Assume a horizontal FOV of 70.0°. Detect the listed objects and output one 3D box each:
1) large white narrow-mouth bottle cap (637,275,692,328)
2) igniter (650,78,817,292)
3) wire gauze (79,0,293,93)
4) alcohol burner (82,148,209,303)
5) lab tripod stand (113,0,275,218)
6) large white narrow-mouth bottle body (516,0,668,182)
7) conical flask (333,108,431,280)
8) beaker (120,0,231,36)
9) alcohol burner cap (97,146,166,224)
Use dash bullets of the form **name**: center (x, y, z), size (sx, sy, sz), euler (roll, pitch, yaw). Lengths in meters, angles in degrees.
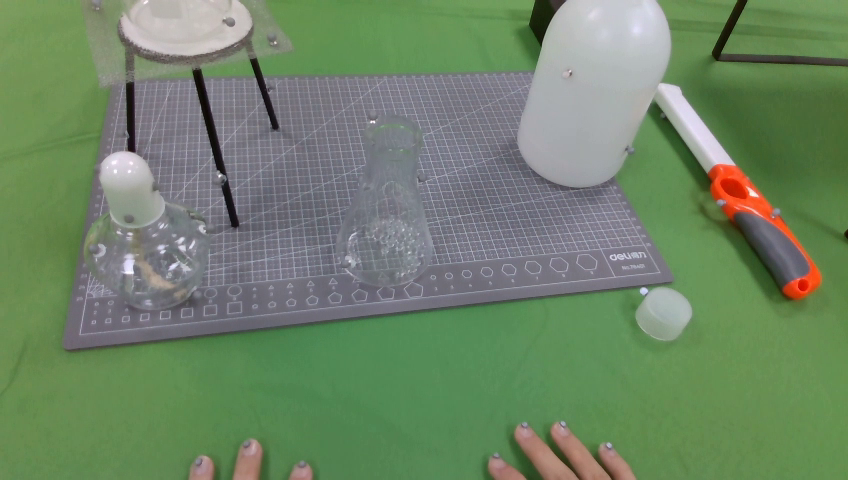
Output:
- **large white narrow-mouth bottle cap**: center (0.184, 0.047, 0.464), size (0.038, 0.024, 0.037), euler (4, 49, -4)
- **igniter**: center (0.281, -0.063, 0.569), size (0.057, 0.025, 0.273), euler (3, 48, -20)
- **wire gauze**: center (-0.166, -0.154, 0.416), size (0.122, 0.011, 0.124), euler (-17, 58, -20)
- **alcohol burner**: center (-0.182, -0.013, 0.392), size (0.078, 0.120, 0.077), euler (6, 48, -6)
- **lab tripod stand**: center (-0.170, -0.111, 0.464), size (0.149, 0.132, 0.147), euler (6, 49, -6)
- **large white narrow-mouth bottle body**: center (0.144, -0.148, 0.505), size (0.102, 0.196, 0.101), euler (4, 49, -4)
- **conical flask**: center (-0.027, -0.033, 0.428), size (0.075, 0.123, 0.074), euler (4, 49, -5)
- **beaker**: center (-0.165, -0.188, 0.379), size (0.084, 0.101, 0.073), euler (-10, 53, -17)
- **alcohol burner cap**: center (-0.177, -0.035, 0.364), size (0.034, 0.048, 0.033), euler (5, 55, -6)
